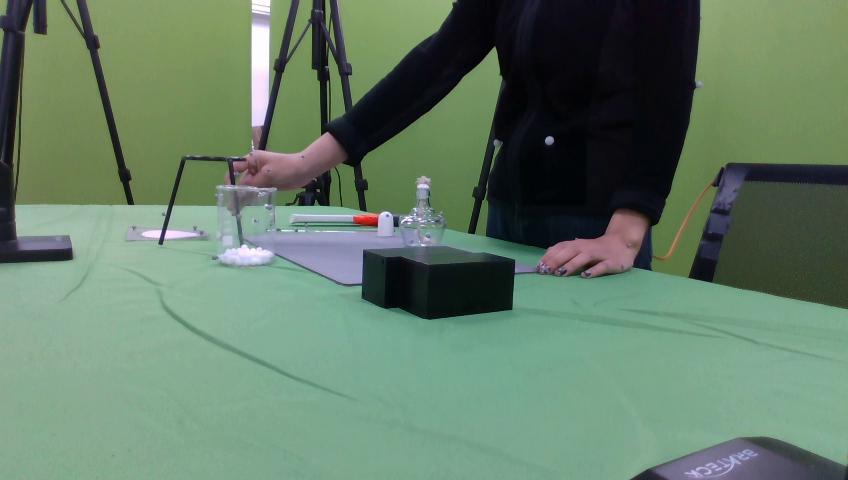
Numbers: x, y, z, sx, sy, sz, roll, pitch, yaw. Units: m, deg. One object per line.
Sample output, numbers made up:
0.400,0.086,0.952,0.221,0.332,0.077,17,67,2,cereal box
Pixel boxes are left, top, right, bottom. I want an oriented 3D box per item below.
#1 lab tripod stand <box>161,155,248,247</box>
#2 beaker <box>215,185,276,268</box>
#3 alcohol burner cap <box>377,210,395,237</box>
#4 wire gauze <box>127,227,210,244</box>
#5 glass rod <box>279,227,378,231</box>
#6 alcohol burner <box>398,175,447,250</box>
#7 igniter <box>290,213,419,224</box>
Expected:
-0.310,-0.059,0.891,0.148,0.131,0.148,1,8,0,lab tripod stand
-0.226,-0.019,0.773,0.074,0.100,0.084,5,7,14,beaker
-0.069,-0.031,1.112,0.034,0.048,0.034,2,8,0,alcohol burner cap
-0.421,-0.010,0.998,0.122,0.011,0.124,-2,10,-24,wire gauze
-0.175,-0.021,1.161,0.200,0.008,0.008,0,7,-15,glass rod
-0.002,-0.044,0.961,0.078,0.119,0.078,0,8,0,alcohol burner
-0.144,-0.046,1.288,0.278,0.025,0.057,-1,-3,-24,igniter
